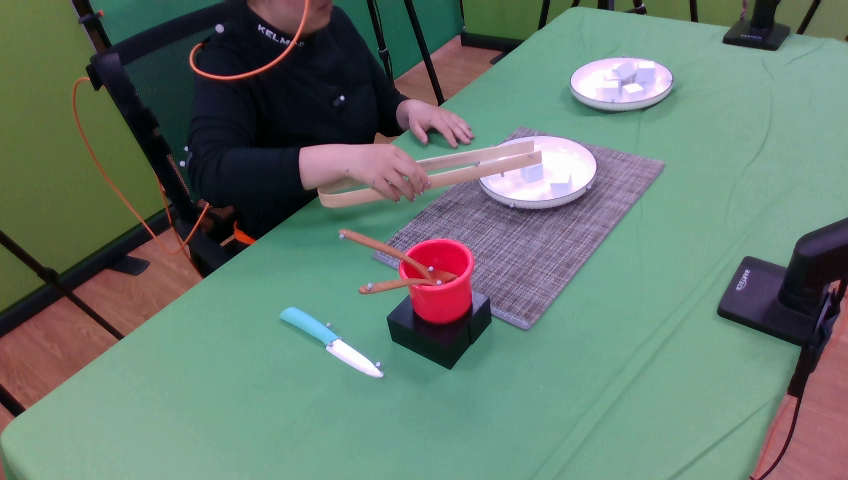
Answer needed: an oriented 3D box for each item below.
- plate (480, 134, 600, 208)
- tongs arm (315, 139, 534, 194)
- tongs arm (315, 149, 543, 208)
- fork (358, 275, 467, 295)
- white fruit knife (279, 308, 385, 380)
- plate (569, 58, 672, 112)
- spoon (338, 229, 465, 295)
[{"bbox_3d":[0.202,-0.117,1.065,0.207,0.039,0.206,-5,40,5],"label":"plate"},{"bbox_3d":[0.005,-0.125,1.042,0.388,0.028,0.028,-13,41,-6],"label":"tongs arm"},{"bbox_3d":[0.011,-0.109,1.019,0.386,0.026,0.050,-14,37,-8],"label":"tongs arm"},{"bbox_3d":[-0.009,0.056,0.739,0.028,0.018,0.209,48,23,26],"label":"fork"},{"bbox_3d":[-0.130,0.143,0.845,0.205,0.016,0.027,25,79,32],"label":"white fruit knife"},{"bbox_3d":[0.411,-0.323,1.274,0.209,0.038,0.208,-5,41,5],"label":"plate"},{"bbox_3d":[-0.025,0.026,0.776,0.021,0.195,0.041,-41,34,32],"label":"spoon"}]
